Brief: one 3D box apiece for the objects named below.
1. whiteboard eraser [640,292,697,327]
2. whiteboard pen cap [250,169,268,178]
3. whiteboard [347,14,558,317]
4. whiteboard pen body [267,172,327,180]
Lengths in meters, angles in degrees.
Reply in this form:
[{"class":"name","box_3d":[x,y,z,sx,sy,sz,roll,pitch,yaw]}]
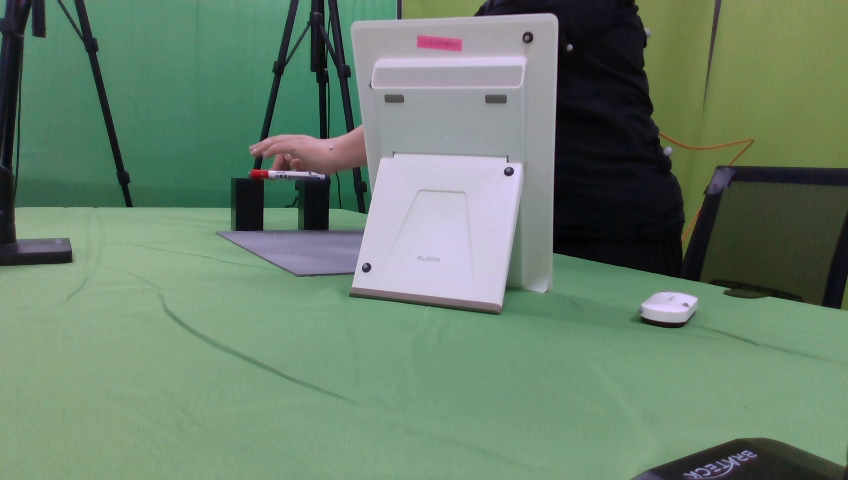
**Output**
[{"class":"whiteboard eraser","box_3d":[0.240,0.066,0.590,0.041,0.019,0.102,7,7,31]},{"class":"whiteboard pen cap","box_3d":[-0.315,-0.127,1.155,0.032,0.017,0.017,0,7,-24]},{"class":"whiteboard","box_3d":[0.012,-0.056,0.609,0.216,0.305,0.144,5,27,20]},{"class":"whiteboard pen body","box_3d":[-0.259,-0.125,1.182,0.141,0.017,0.017,-2,8,-26]}]
